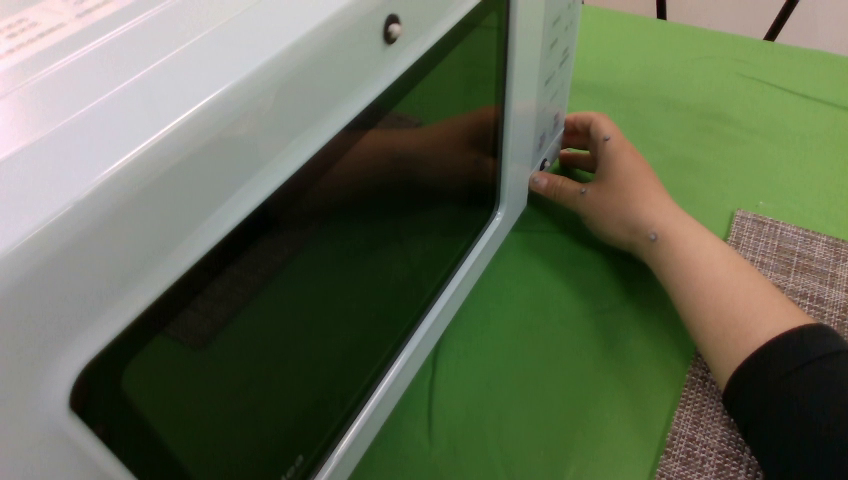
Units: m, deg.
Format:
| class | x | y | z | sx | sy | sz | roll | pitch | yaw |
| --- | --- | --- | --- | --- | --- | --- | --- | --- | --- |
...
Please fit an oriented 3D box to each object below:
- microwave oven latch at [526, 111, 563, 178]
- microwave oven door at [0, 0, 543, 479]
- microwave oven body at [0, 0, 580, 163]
| class | x | y | z | sx | sy | sz | roll | pitch | yaw |
| --- | --- | --- | --- | --- | --- | --- | --- | --- | --- |
| microwave oven latch | 0.085 | -0.077 | 0.490 | 0.030 | 0.030 | 0.079 | 26 | 54 | 24 |
| microwave oven door | -0.028 | -0.004 | 0.287 | 0.039 | 0.246 | 0.354 | 21 | 51 | 21 |
| microwave oven body | -0.135 | -0.076 | 0.368 | 0.324 | 0.262 | 0.440 | 21 | 52 | 21 |
